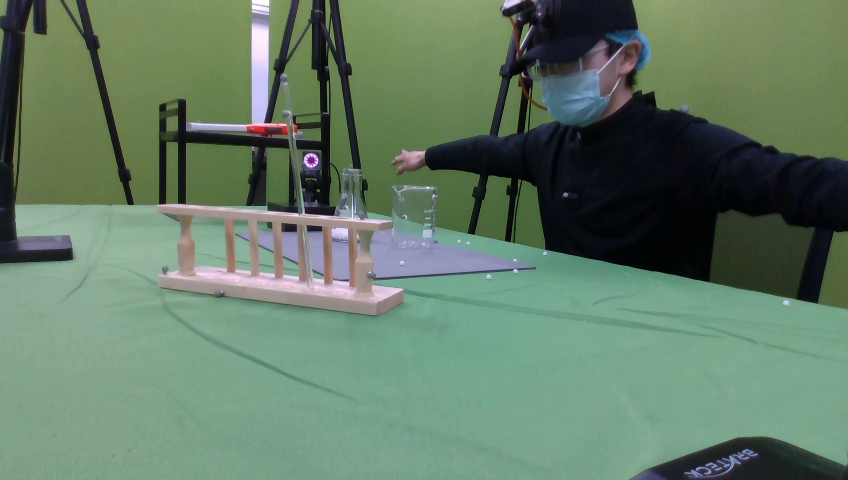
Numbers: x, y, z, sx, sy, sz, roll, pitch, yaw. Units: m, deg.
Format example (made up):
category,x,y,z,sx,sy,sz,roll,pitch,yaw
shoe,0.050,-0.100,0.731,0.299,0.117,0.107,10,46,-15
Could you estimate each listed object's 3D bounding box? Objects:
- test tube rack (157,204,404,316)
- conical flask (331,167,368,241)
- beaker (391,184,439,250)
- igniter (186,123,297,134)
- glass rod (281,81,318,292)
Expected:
category,x,y,z,sx,sy,sz,roll,pitch,yaw
test tube rack,-0.143,0.013,0.599,0.242,0.085,0.067,5,8,19
conical flask,-0.123,-0.061,1.019,0.075,0.122,0.075,2,7,0
beaker,-0.017,-0.038,0.961,0.073,0.100,0.084,7,9,34
igniter,-0.392,-0.248,1.341,0.057,0.025,0.278,9,14,38
glass rod,-0.116,-0.047,0.563,0.008,0.199,0.008,-7,6,1
